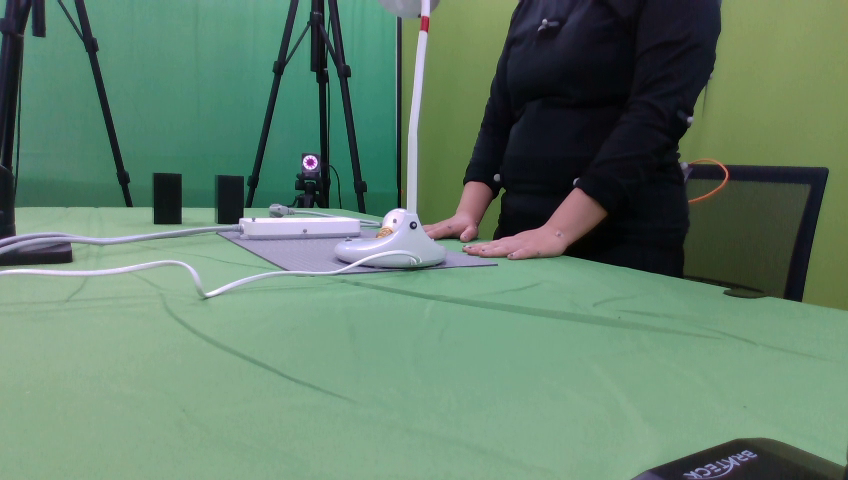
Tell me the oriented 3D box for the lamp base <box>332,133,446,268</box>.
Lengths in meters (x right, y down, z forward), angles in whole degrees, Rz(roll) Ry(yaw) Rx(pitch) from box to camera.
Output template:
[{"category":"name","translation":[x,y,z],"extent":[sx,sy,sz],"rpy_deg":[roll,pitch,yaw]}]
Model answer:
[{"category":"lamp base","translation":[-0.038,-0.058,0.833],"extent":[0.161,0.180,0.178],"rpy_deg":[-2,11,-32]}]

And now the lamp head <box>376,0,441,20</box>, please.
[{"category":"lamp head","translation":[-0.012,-0.373,0.822],"extent":[0.113,0.112,0.122],"rpy_deg":[1,0,-14]}]

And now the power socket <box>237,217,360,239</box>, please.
[{"category":"power socket","translation":[-0.220,-0.023,1.080],"extent":[0.228,0.032,0.072],"rpy_deg":[-2,8,-32]}]

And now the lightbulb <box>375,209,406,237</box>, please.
[{"category":"lightbulb","translation":[-0.052,-0.016,1.022],"extent":[0.059,0.059,0.108],"rpy_deg":[6,23,21]}]

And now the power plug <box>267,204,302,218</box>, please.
[{"category":"power plug","translation":[-0.327,-0.059,1.403],"extent":[0.073,0.035,0.052],"rpy_deg":[24,-16,-25]}]
